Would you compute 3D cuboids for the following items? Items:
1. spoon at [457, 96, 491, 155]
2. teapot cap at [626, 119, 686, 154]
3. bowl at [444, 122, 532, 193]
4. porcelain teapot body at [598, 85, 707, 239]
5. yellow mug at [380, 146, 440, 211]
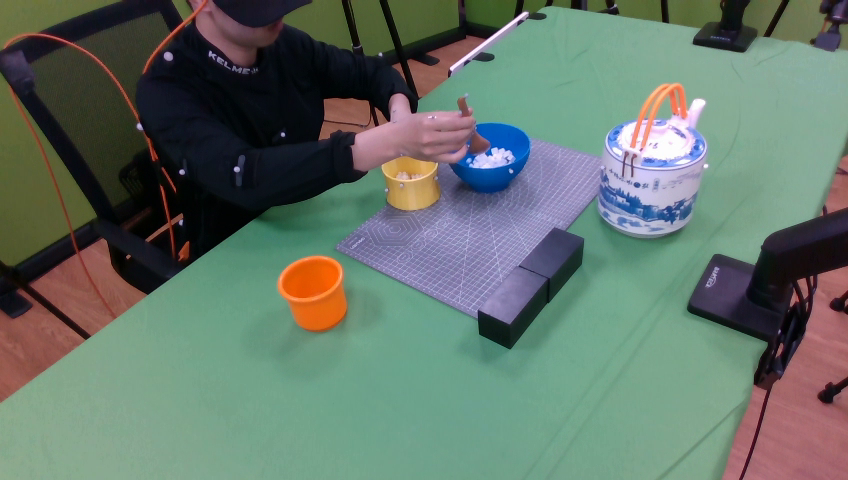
[{"bbox_3d":[0.074,-0.177,0.951,0.041,0.195,0.021,-21,67,9],"label":"spoon"},{"bbox_3d":[0.338,-0.153,0.882,0.085,0.044,0.085,-3,38,3],"label":"teapot cap"},{"bbox_3d":[0.113,-0.136,1.063,0.151,0.077,0.150,-4,41,4],"label":"bowl"},{"bbox_3d":[0.363,-0.137,0.921,0.144,0.226,0.206,28,51,36],"label":"porcelain teapot body"},{"bbox_3d":[-0.021,-0.117,1.068,0.100,0.064,0.130,2,42,8],"label":"yellow mug"}]
